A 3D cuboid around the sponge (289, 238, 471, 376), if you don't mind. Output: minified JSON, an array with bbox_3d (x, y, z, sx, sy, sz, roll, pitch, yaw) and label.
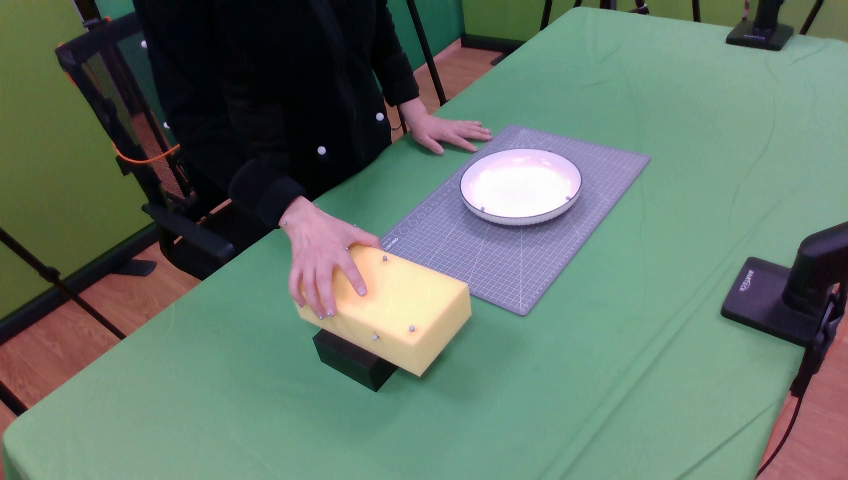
[{"bbox_3d":[-0.058,0.081,0.794,0.205,0.061,0.118,19,48,29],"label":"sponge"}]

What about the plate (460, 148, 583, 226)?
[{"bbox_3d":[0.167,-0.089,1.043,0.209,0.038,0.208,-5,40,5],"label":"plate"}]
